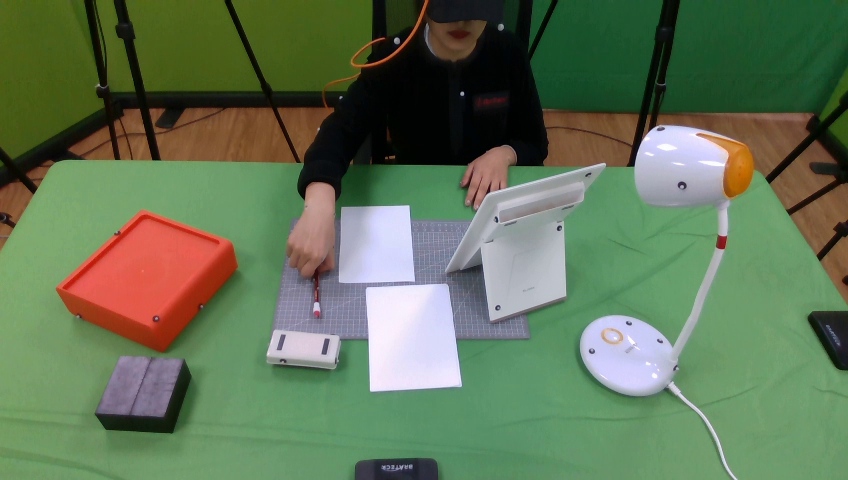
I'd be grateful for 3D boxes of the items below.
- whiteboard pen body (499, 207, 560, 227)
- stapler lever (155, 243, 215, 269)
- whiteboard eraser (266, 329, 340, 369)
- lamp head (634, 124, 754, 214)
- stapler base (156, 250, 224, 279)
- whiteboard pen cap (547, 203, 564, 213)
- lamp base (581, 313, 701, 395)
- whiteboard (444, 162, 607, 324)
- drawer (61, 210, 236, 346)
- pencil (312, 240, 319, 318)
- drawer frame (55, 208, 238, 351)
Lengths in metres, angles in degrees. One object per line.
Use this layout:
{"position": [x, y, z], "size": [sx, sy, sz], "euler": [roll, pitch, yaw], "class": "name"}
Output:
{"position": [0.222, -0.051, 1.259], "size": [0.141, 0.017, 0.017], "euler": [-15, 49, -16], "class": "whiteboard pen body"}
{"position": [-0.433, 0.023, 1.097], "size": [0.118, 0.040, 0.026], "euler": [14, 39, 14], "class": "stapler lever"}
{"position": [-0.198, 0.181, 0.994], "size": [0.113, 0.042, 0.055], "euler": [5, 45, 1], "class": "whiteboard eraser"}
{"position": [0.351, -0.089, 0.775], "size": [0.112, 0.113, 0.122], "euler": [-30, 30, -28], "class": "lamp head"}
{"position": [-0.431, 0.040, 1.111], "size": [0.130, 0.024, 0.041], "euler": [11, 38, 17], "class": "stapler base"}
{"position": [0.277, -0.066, 1.275], "size": [0.033, 0.018, 0.018], "euler": [-18, 50, -15], "class": "whiteboard pen cap"}
{"position": [0.361, 0.144, 0.972], "size": [0.178, 0.181, 0.160], "euler": [34, 53, 23], "class": "lamp base"}
{"position": [0.186, 0.025, 1.029], "size": [0.217, 0.306, 0.143], "euler": [-15, 68, -18], "class": "whiteboard"}
{"position": [-0.474, 0.061, 1.063], "size": [0.194, 0.073, 0.211], "euler": [19, 49, 13], "class": "drawer"}
{"position": [-0.202, 0.066, 1.119], "size": [0.012, 0.012, 0.192], "euler": [-4, 45, -8], "class": "pencil"}
{"position": [-0.474, 0.062, 1.059], "size": [0.201, 0.083, 0.213], "euler": [18, 48, 12], "class": "drawer frame"}
